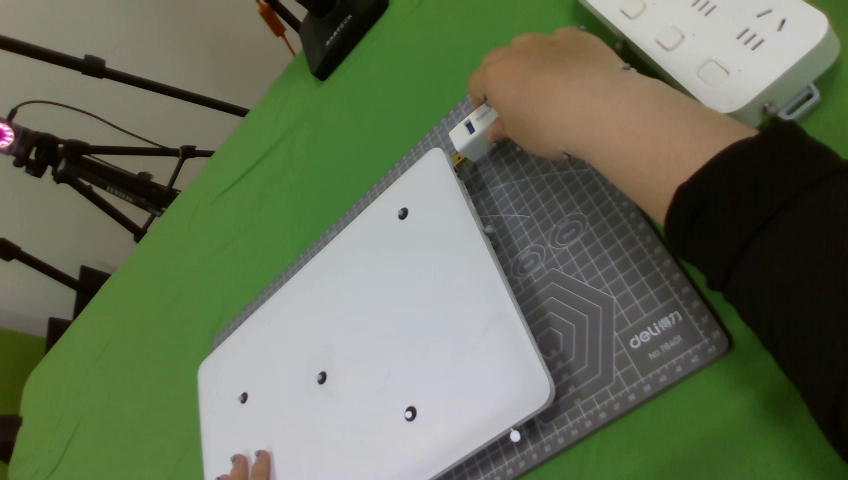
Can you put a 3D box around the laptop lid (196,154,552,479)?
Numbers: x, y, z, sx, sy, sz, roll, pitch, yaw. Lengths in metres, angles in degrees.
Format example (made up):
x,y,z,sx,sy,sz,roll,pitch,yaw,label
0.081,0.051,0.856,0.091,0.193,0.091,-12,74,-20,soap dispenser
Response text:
x,y,z,sx,sy,sz,roll,pitch,yaw,label
-0.079,0.118,0.486,0.357,0.013,0.239,-40,49,24,laptop lid

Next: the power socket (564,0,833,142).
x,y,z,sx,sy,sz,roll,pitch,yaw,label
0.158,-0.146,0.390,0.072,0.033,0.224,-43,45,19,power socket

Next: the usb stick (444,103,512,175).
x,y,z,sx,sy,sz,roll,pitch,yaw,label
0.035,-0.073,0.454,0.059,0.027,0.021,-42,53,29,usb stick

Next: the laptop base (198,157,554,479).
x,y,z,sx,sy,sz,roll,pitch,yaw,label
-0.072,0.120,0.495,0.354,0.023,0.233,-41,50,23,laptop base
